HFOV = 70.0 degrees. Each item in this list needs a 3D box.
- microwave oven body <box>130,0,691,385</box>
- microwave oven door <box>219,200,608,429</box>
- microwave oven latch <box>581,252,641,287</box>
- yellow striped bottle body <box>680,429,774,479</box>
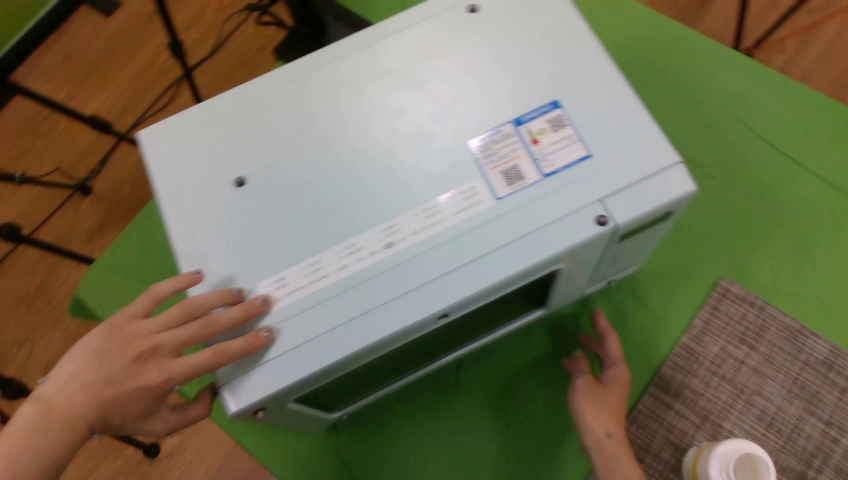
[{"bbox_3d":[-0.019,-0.050,0.669,0.442,0.262,0.323,-27,70,-2],"label":"microwave oven body"},{"bbox_3d":[0.006,0.089,0.612,0.356,0.245,0.039,-27,69,-3],"label":"microwave oven door"},{"bbox_3d":[0.215,0.026,0.719,0.079,0.030,0.030,-25,70,-2],"label":"microwave oven latch"},{"bbox_3d":[0.305,0.224,0.609,0.063,0.121,0.062,-2,70,6],"label":"yellow striped bottle body"}]
